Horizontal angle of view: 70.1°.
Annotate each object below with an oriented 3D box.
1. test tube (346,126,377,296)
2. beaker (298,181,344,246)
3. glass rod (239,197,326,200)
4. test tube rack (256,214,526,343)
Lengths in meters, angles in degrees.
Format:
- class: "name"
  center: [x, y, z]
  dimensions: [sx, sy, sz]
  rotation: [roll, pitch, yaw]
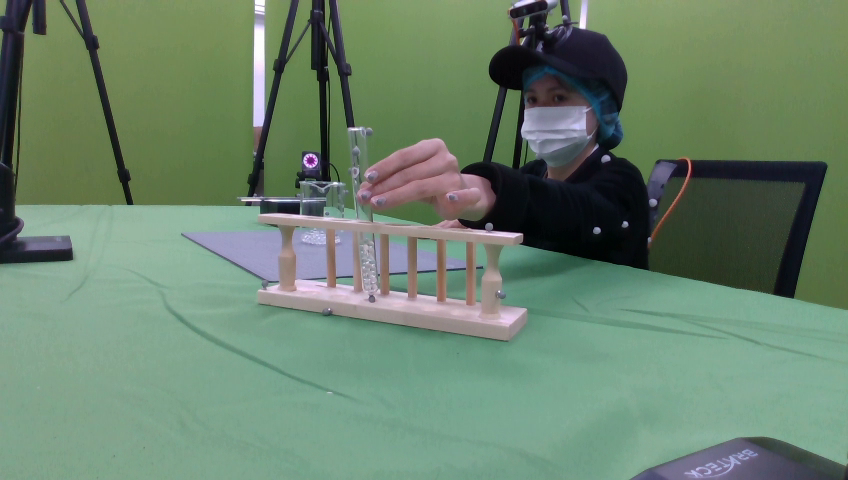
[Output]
- class: "test tube"
  center: [-0.054, -0.023, 0.529]
  dimensions: [0.017, 0.150, 0.017]
  rotation: [-3, 12, 1]
- class: "beaker"
  center: [-0.166, -0.043, 0.972]
  dimensions: [0.074, 0.100, 0.084]
  rotation: [1, 8, -10]
- class: "glass rod"
  center: [-0.288, -0.086, 1.250]
  dimensions: [0.201, 0.008, 0.008]
  rotation: [-4, 10, -42]
- class: "test tube rack"
  center: [-0.032, 0.027, 0.547]
  dimensions: [0.241, 0.085, 0.067]
  rotation: [5, 8, 22]
